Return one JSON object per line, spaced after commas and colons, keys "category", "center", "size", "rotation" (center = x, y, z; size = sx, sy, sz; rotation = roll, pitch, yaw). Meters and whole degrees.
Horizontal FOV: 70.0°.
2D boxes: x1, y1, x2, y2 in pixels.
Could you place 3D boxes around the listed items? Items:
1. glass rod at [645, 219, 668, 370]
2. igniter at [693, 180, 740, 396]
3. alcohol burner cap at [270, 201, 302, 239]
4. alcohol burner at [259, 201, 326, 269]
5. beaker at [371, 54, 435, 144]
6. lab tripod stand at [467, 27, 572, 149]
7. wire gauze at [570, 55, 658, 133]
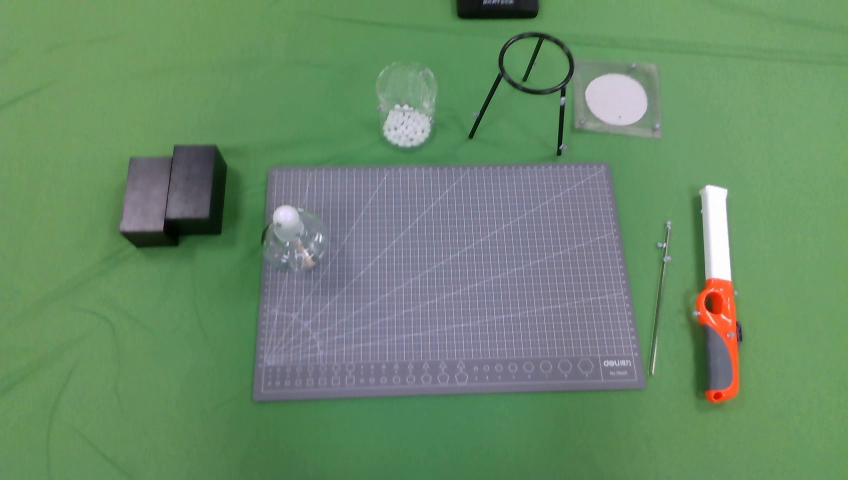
{"category": "glass rod", "center": [0.287, 0.063, 0.747], "size": [0.008, 0.008, 0.198], "rotation": [14, 70, 3]}
{"category": "igniter", "center": [0.356, 0.053, 0.743], "size": [0.057, 0.025, 0.274], "rotation": [11, 69, -9]}
{"category": "alcohol burner cap", "center": [-0.151, -0.024, 0.662], "size": [0.034, 0.048, 0.033], "rotation": [2, 71, -5]}
{"category": "alcohol burner", "center": [-0.154, -0.012, 0.695], "size": [0.078, 0.120, 0.077], "rotation": [1, 67, -1]}
{"category": "beaker", "center": [-0.024, -0.174, 0.775], "size": [0.083, 0.101, 0.074], "rotation": [42, 73, 12]}
{"category": "lab tripod stand", "center": [0.127, -0.195, 0.771], "size": [0.148, 0.132, 0.147], "rotation": [0, 67, -1]}
{"category": "wire gauze", "center": [0.265, -0.209, 0.850], "size": [0.125, 0.011, 0.120], "rotation": [5, 68, 2]}
